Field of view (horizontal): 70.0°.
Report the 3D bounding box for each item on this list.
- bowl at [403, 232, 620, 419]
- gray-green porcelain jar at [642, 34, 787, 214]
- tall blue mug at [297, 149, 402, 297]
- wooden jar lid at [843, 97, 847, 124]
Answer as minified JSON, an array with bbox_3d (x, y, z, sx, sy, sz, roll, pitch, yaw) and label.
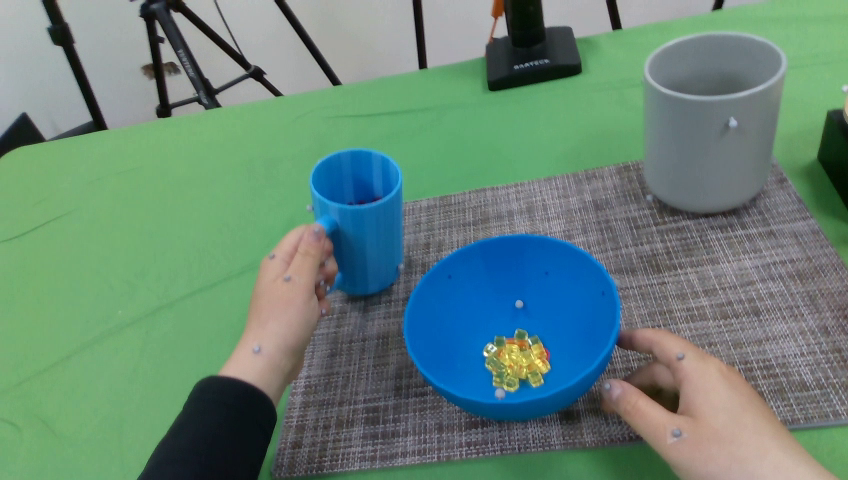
[{"bbox_3d":[0.066,0.073,0.442,0.151,0.077,0.150,-10,42,9],"label":"bowl"},{"bbox_3d":[0.245,-0.095,0.525,0.106,0.128,0.105,-10,42,9],"label":"gray-green porcelain jar"},{"bbox_3d":[-0.060,-0.003,0.524,0.078,0.109,0.106,5,46,1],"label":"tall blue mug"},{"bbox_3d":[0.398,-0.097,0.485,0.108,0.021,0.107,-11,42,10],"label":"wooden jar lid"}]
